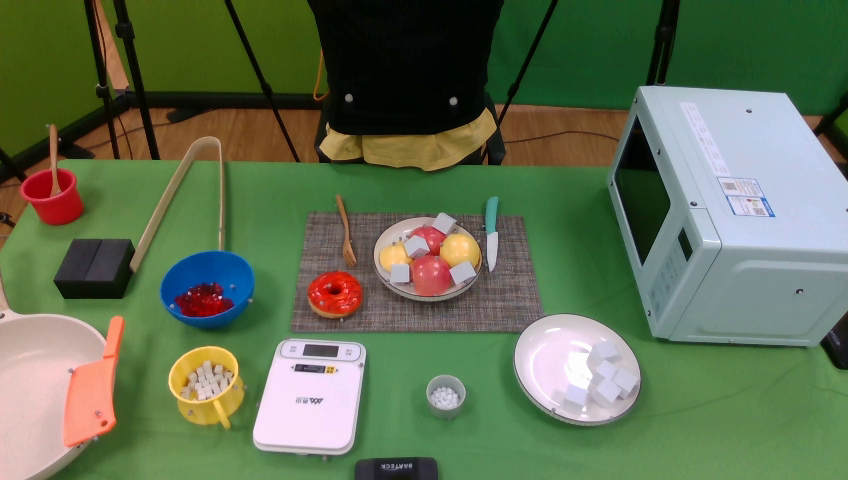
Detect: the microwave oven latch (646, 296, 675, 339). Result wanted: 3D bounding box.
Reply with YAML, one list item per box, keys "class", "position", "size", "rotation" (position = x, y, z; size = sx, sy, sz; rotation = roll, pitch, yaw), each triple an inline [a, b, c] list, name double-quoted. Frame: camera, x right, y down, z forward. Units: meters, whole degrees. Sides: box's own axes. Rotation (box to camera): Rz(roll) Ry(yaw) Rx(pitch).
- class: "microwave oven latch"
  position: [0.412, 0.134, 1.061]
  size: [0.030, 0.029, 0.078]
  rotation: [4, 45, 1]

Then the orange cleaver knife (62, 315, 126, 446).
- class: "orange cleaver knife"
  position: [-0.480, 0.199, 0.887]
  size: [0.077, 0.012, 0.210]
  rotation: [-8, 47, -8]

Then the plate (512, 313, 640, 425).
- class: "plate"
  position: [0.246, 0.213, 0.999]
  size: [0.208, 0.039, 0.206]
  rotation: [2, 46, -2]

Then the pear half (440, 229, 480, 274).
- class: "pear half"
  position: [0.065, 0.007, 1.151]
  size: [0.076, 0.056, 0.109]
  rotation: [-10, 43, -2]

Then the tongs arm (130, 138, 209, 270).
- class: "tongs arm"
  position: [-0.514, -0.088, 1.235]
  size: [0.028, 0.028, 0.385]
  rotation: [1, 44, 4]

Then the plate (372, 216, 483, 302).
- class: "plate"
  position: [0.006, 0.038, 1.145]
  size: [0.209, 0.038, 0.208]
  rotation: [2, 46, -2]

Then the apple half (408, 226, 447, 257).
- class: "apple half"
  position: [0.009, -0.006, 1.176]
  size: [0.081, 0.033, 0.081]
  rotation: [2, 51, -2]

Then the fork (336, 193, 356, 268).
- class: "fork"
  position: [-0.158, -0.024, 1.207]
  size: [0.019, 0.028, 0.206]
  rotation: [15, 38, -27]

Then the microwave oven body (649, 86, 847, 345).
- class: "microwave oven body"
  position: [0.567, -0.053, 1.118]
  size: [0.326, 0.261, 0.439]
  rotation: [2, 45, -1]

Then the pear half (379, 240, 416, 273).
- class: "pear half"
  position: [-0.048, 0.024, 1.147]
  size: [0.070, 0.031, 0.087]
  rotation: [12, 47, -11]

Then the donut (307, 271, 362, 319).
- class: "donut"
  position: [-0.158, 0.097, 1.073]
  size: [0.099, 0.048, 0.098]
  rotation: [4, 45, -4]

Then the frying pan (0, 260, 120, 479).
- class: "frying pan"
  position: [-0.647, 0.164, 0.936]
  size: [0.307, 0.103, 0.485]
  rotation: [-19, 58, -22]

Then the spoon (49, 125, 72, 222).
- class: "spoon"
  position: [-0.718, -0.131, 1.189]
  size: [0.041, 0.021, 0.193]
  rotation: [-4, 90, -7]

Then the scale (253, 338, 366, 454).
- class: "scale"
  position: [-0.175, 0.236, 0.951]
  size: [0.149, 0.032, 0.199]
  rotation: [4, 45, 0]

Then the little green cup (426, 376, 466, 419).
- class: "little green cup"
  position: [0.033, 0.248, 0.950]
  size: [0.061, 0.039, 0.061]
  rotation: [2, 46, -2]

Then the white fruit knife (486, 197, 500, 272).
- class: "white fruit knife"
  position: [0.138, -0.015, 1.221]
  size: [0.027, 0.016, 0.206]
  rotation: [-2, 46, 10]

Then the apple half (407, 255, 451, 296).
- class: "apple half"
  position: [0.011, 0.058, 1.103]
  size: [0.075, 0.053, 0.080]
  rotation: [-6, 43, -13]

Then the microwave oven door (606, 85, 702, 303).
- class: "microwave oven door"
  position: [0.423, -0.094, 1.140]
  size: [0.039, 0.245, 0.353]
  rotation: [2, 46, -1]

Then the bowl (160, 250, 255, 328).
- class: "bowl"
  position: [-0.362, 0.098, 1.040]
  size: [0.151, 0.077, 0.150]
  rotation: [2, 45, -2]

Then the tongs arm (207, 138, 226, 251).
- class: "tongs arm"
  position: [-0.430, -0.090, 1.245]
  size: [0.051, 0.026, 0.382]
  rotation: [-7, 46, -8]

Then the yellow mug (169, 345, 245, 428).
- class: "yellow mug"
  position: [-0.322, 0.230, 0.922]
  size: [0.100, 0.064, 0.130]
  rotation: [-24, 53, -25]
